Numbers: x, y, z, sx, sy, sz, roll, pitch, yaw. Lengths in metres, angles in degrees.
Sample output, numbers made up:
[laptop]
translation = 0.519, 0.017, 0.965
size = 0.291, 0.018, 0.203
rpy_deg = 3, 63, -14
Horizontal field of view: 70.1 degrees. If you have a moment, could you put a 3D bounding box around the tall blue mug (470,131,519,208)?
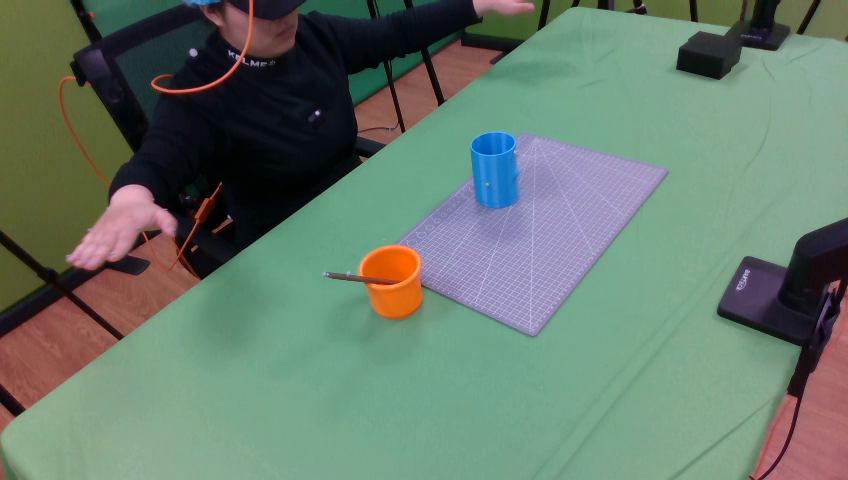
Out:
[tall blue mug]
translation = 0.122, -0.129, 1.042
size = 0.078, 0.108, 0.106
rpy_deg = -7, 40, 5

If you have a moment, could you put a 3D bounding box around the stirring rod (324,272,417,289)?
[stirring rod]
translation = -0.069, 0.057, 0.840
size = 0.014, 0.006, 0.178
rpy_deg = 26, 9, 39
